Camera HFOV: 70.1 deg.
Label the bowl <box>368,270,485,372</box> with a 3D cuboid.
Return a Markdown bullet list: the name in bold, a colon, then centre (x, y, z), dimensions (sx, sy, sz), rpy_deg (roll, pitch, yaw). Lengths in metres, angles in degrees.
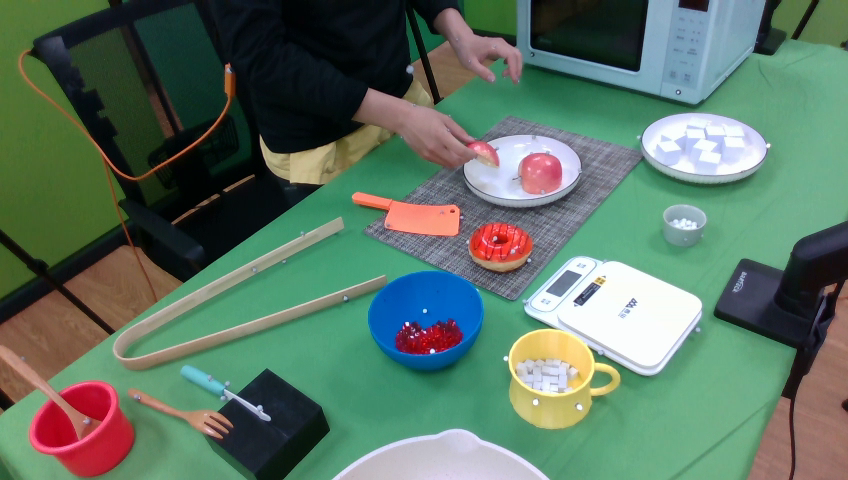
- **bowl**: centre (0.007, 0.118, 0.791), dimensions (0.151, 0.077, 0.150), rpy_deg (-4, 40, 4)

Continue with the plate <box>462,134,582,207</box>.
- **plate**: centre (0.173, -0.119, 1.070), dimensions (0.209, 0.038, 0.208), rpy_deg (-4, 40, 4)

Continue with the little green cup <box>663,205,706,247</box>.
- **little green cup**: centre (0.396, -0.020, 0.926), dimensions (0.061, 0.039, 0.061), rpy_deg (-4, 40, 4)

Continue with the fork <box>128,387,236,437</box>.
- **fork**: centre (-0.305, 0.207, 0.744), dimensions (0.206, 0.019, 0.028), rpy_deg (3, 41, 36)

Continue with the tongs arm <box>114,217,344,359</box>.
- **tongs arm**: centre (-0.280, 0.068, 0.927), dimensions (0.386, 0.026, 0.050), rpy_deg (-29, 50, -23)

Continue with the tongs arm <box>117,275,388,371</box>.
- **tongs arm**: centre (-0.236, 0.117, 0.870), dimensions (0.389, 0.028, 0.028), rpy_deg (-18, 50, -13)

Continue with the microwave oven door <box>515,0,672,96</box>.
- **microwave oven door**: centre (0.343, -0.454, 1.259), dimensions (0.353, 0.245, 0.039), rpy_deg (26, 51, 33)

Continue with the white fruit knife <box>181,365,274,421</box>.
- **white fruit knife**: centre (-0.245, 0.187, 0.747), dimensions (0.205, 0.027, 0.016), rpy_deg (9, 41, 40)

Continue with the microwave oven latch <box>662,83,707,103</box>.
- **microwave oven latch**: centre (0.517, -0.296, 1.204), dimensions (0.078, 0.029, 0.030), rpy_deg (27, 52, 35)

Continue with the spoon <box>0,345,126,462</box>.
- **spoon**: centre (-0.434, 0.191, 0.720), dimensions (0.194, 0.021, 0.042), rpy_deg (47, 53, -7)

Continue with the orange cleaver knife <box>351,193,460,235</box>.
- **orange cleaver knife**: centre (-0.036, -0.044, 1.029), dimensions (0.210, 0.012, 0.077), rpy_deg (10, 48, 18)

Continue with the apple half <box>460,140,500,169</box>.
- **apple half**: centre (0.104, -0.152, 1.037), dimensions (0.080, 0.082, 0.033), rpy_deg (25, 89, 33)

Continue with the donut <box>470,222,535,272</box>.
- **donut**: centre (0.119, 0.009, 0.923), dimensions (0.099, 0.048, 0.098), rpy_deg (-4, 38, 3)

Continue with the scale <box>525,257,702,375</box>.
- **scale**: centre (0.254, 0.091, 0.821), dimensions (0.199, 0.032, 0.149), rpy_deg (28, 51, 35)

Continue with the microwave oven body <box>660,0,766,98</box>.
- **microwave oven body**: centre (0.472, -0.513, 1.317), dimensions (0.438, 0.261, 0.327), rpy_deg (26, 51, 34)

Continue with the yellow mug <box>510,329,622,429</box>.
- **yellow mug**: centre (0.169, 0.164, 0.721), dimensions (0.130, 0.064, 0.099), rpy_deg (0, 40, 8)

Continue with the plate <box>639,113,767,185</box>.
- **plate**: centre (0.489, -0.157, 1.074), dimensions (0.207, 0.039, 0.206), rpy_deg (-4, 40, 4)

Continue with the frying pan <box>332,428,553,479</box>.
- **frying pan**: centre (-0.089, 0.306, 0.564), dimensions (0.487, 0.103, 0.306), rpy_deg (10, 41, 7)

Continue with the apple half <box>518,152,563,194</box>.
- **apple half**: centre (0.203, -0.124, 1.047), dimensions (0.074, 0.053, 0.080), rpy_deg (-1, 41, 3)
